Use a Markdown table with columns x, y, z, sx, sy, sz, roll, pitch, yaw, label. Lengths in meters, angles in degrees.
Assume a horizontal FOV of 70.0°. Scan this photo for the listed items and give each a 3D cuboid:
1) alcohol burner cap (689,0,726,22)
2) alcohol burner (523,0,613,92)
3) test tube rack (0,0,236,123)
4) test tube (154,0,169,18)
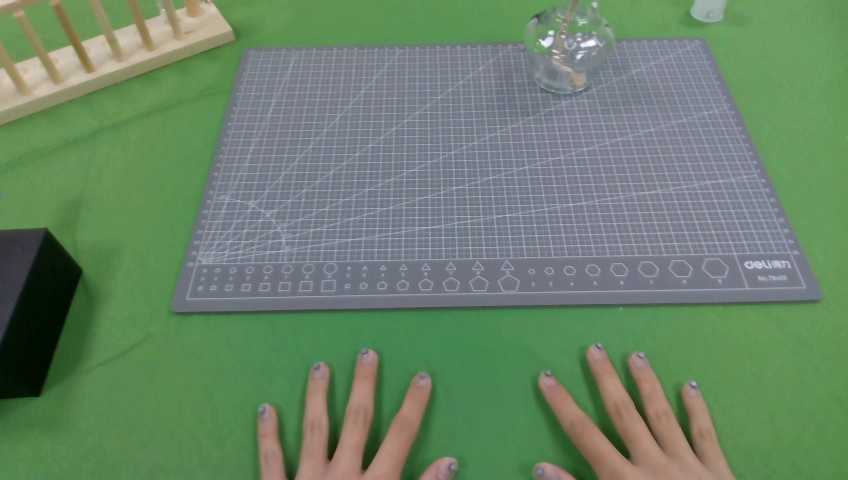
| x | y | z | sx | sy | sz | roll | pitch | yaw | label |
| --- | --- | --- | --- | --- | --- | --- | --- | --- | --- |
| 0.287 | -0.245 | 0.602 | 0.034 | 0.048 | 0.033 | -1 | 53 | 2 | alcohol burner cap |
| 0.125 | -0.188 | 0.516 | 0.078 | 0.120 | 0.077 | 0 | 52 | 1 | alcohol burner |
| -0.309 | -0.197 | 0.555 | 0.242 | 0.086 | 0.066 | -27 | 57 | -17 | test tube rack |
| -0.261 | -0.271 | 0.547 | 0.017 | 0.152 | 0.017 | -3 | 51 | 4 | test tube |
